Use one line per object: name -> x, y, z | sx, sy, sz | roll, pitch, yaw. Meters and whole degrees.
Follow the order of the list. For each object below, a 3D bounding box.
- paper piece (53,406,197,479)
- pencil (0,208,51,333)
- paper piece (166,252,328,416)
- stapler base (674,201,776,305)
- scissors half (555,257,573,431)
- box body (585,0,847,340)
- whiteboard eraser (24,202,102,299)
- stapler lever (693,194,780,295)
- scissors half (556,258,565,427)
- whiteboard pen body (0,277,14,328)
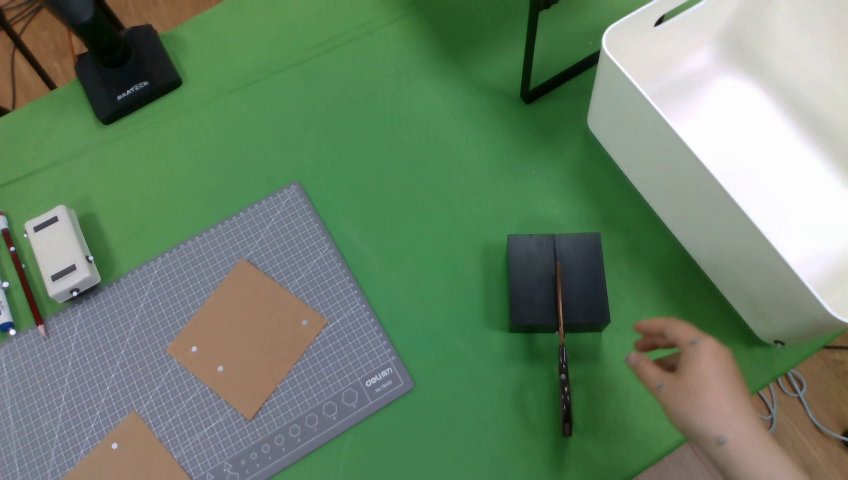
paper piece -> -0.322, 0.272, 0.643 | 0.135, 0.004, 0.135 | 42, 78, 16
pencil -> -0.491, 0.035, 0.742 | 0.012, 0.012, 0.192 | -33, 71, -7
paper piece -> -0.204, 0.104, 0.693 | 0.137, 0.009, 0.136 | 35, 81, 13
stapler base -> 0.335, 0.009, 0.671 | 0.041, 0.024, 0.130 | -34, 74, -5
scissors half -> 0.139, 0.102, 0.611 | 0.013, 0.040, 0.174 | -3, 73, 9
box body -> 0.372, -0.105, 0.640 | 0.254, 0.161, 0.361 | -31, 71, -6
whiteboard eraser -> -0.433, 0.013, 0.730 | 0.055, 0.042, 0.112 | -31, 71, -5
stapler lever -> 0.334, 0.002, 0.646 | 0.027, 0.040, 0.117 | -34, 75, -5
scissors half -> 0.142, 0.106, 0.630 | 0.013, 0.040, 0.175 | -2, 89, 4
whiteboard pen body -> -0.526, 0.046, 0.738 | 0.017, 0.017, 0.139 | -30, 70, -6
